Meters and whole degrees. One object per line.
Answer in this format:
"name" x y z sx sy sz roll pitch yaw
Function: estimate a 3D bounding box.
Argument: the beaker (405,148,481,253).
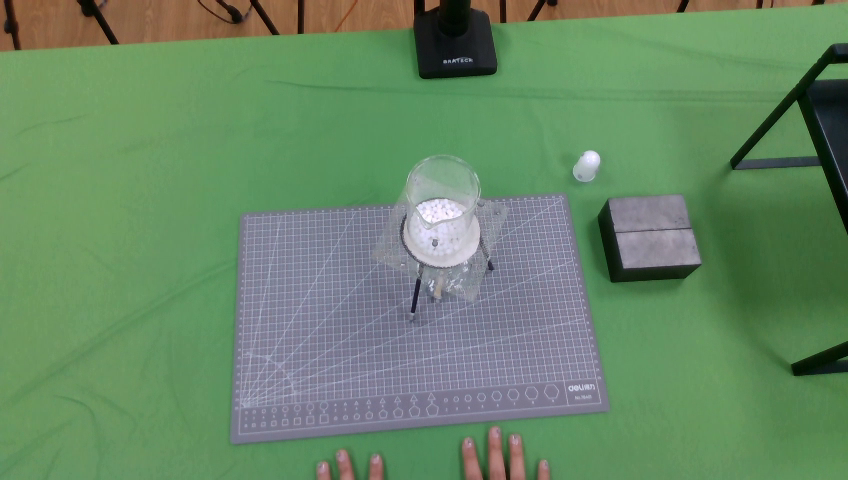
"beaker" 0.015 -0.033 0.628 0.074 0.101 0.083 19 67 6

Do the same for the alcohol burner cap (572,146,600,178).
"alcohol burner cap" 0.228 -0.111 0.846 0.034 0.048 0.033 0 66 -1

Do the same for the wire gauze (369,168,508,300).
"wire gauze" 0.018 -0.012 0.671 0.125 0.011 0.121 23 69 5

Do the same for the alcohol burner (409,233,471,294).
"alcohol burner" 0.021 0.022 0.739 0.078 0.120 0.077 1 68 -3

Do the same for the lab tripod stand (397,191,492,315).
"lab tripod stand" 0.018 0.009 0.734 0.148 0.132 0.147 1 65 -2
